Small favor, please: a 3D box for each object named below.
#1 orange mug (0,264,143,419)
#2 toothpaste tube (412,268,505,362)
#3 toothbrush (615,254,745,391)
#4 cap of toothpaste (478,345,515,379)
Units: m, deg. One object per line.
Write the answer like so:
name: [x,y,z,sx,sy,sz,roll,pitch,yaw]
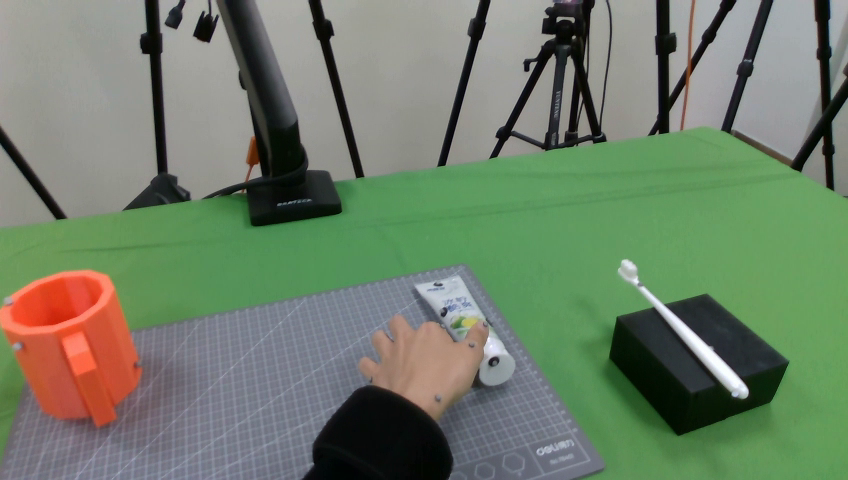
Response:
orange mug: [-0.291,0.090,0.512,0.083,0.101,0.125,-23,35,-30]
toothpaste tube: [0.040,0.072,0.604,0.055,0.035,0.163,-6,29,-19]
toothbrush: [0.221,0.065,0.537,0.014,0.017,0.180,-5,33,-15]
cap of toothpaste: [0.063,0.106,0.538,0.037,0.037,0.011,-12,32,-17]
